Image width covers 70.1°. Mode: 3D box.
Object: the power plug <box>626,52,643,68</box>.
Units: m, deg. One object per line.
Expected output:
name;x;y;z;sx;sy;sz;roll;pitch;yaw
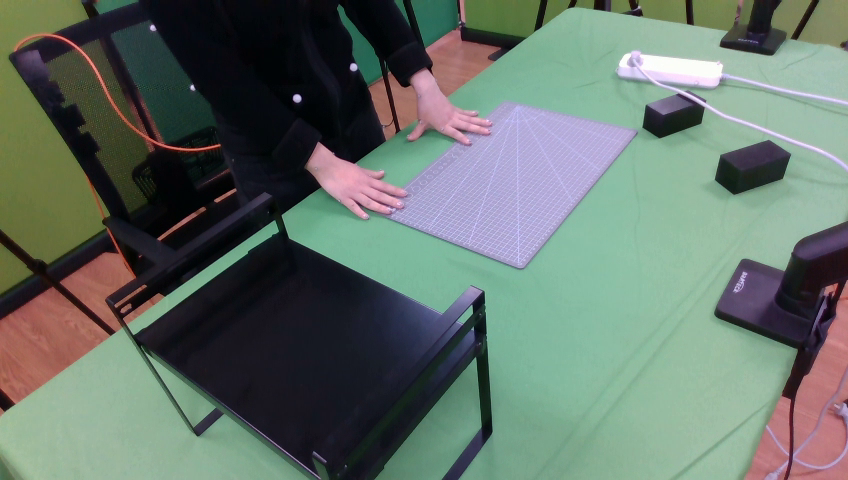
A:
power plug;0.450;-0.379;1.315;0.035;0.053;0.073;24;53;31

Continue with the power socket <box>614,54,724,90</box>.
power socket;0.531;-0.367;1.316;0.225;0.033;0.072;15;46;24
